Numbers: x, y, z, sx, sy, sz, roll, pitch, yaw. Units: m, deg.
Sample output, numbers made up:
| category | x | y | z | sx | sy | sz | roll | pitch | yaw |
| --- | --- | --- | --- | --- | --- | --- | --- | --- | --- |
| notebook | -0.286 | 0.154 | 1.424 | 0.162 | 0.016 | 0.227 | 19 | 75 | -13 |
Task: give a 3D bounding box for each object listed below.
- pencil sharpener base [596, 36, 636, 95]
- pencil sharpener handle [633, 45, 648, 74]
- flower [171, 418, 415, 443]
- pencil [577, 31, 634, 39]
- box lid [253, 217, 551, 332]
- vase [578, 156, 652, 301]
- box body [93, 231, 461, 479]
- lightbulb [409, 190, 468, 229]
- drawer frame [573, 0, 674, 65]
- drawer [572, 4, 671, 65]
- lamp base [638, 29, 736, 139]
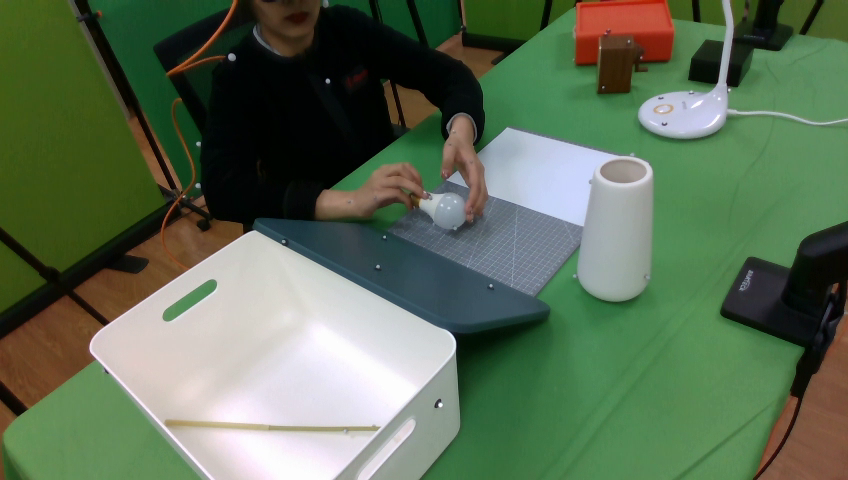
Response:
| category | x | y | z | sx | sy | sz | roll | pitch | yaw |
| --- | --- | --- | --- | --- | --- | --- | --- | --- | --- |
| pencil sharpener base | 0.406 | -0.369 | 1.280 | 0.076 | 0.107 | 0.061 | 1 | 41 | 13 |
| pencil sharpener handle | 0.454 | -0.378 | 1.262 | 0.030 | 0.068 | 0.036 | 1 | 47 | 13 |
| flower | -0.154 | 0.228 | 0.742 | 0.360 | 0.038 | 0.044 | -2 | 47 | 15 |
| pencil | 0.431 | -0.489 | 1.443 | 0.012 | 0.012 | 0.192 | -25 | 30 | -18 |
| box lid | -0.031 | 0.037 | 0.833 | 0.368 | 0.015 | 0.265 | 24 | 12 | 33 |
| vase | 0.261 | -0.011 | 0.812 | 0.098 | 0.201 | 0.097 | -4 | 40 | 4 |
| box body | -0.162 | 0.170 | 0.708 | 0.361 | 0.161 | 0.255 | 25 | 50 | 34 |
| lightbulb | 0.021 | -0.056 | 0.988 | 0.107 | 0.060 | 0.059 | 23 | 49 | 25 |
| drawer frame | 0.464 | -0.492 | 1.434 | 0.213 | 0.083 | 0.201 | 1 | 40 | 12 |
| drawer | 0.461 | -0.490 | 1.434 | 0.211 | 0.073 | 0.194 | 2 | 40 | 12 |
| lamp base | 0.501 | -0.302 | 1.125 | 0.179 | 0.181 | 0.160 | -4 | 40 | 3 |
